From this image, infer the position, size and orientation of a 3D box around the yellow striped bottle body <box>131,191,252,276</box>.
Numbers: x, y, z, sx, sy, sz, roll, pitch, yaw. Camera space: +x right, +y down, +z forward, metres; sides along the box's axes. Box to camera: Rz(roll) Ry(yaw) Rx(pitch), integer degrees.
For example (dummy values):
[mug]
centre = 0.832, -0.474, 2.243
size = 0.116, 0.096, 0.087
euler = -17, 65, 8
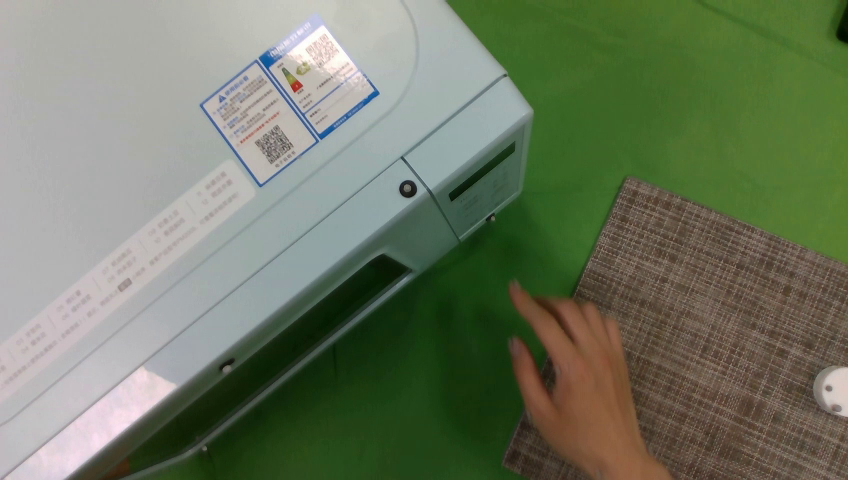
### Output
[yellow striped bottle body]
centre = -0.195, -0.004, 0.509
size = 0.063, 0.120, 0.062
euler = 0, 83, 4

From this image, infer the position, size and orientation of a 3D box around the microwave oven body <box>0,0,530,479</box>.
[microwave oven body]
centre = -0.186, -0.054, 0.506
size = 0.442, 0.261, 0.325
euler = -39, 81, 2

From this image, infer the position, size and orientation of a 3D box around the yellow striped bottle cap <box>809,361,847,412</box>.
[yellow striped bottle cap]
centre = 0.370, 0.130, 0.540
size = 0.044, 0.019, 0.044
euler = -1, 83, 9

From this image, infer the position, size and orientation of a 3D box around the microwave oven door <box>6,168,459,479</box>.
[microwave oven door]
centre = -0.130, 0.084, 0.478
size = 0.356, 0.245, 0.039
euler = -39, 79, 1

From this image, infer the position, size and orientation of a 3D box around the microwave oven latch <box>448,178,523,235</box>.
[microwave oven latch]
centre = 0.056, -0.039, 0.572
size = 0.079, 0.029, 0.030
euler = -37, 81, 2
